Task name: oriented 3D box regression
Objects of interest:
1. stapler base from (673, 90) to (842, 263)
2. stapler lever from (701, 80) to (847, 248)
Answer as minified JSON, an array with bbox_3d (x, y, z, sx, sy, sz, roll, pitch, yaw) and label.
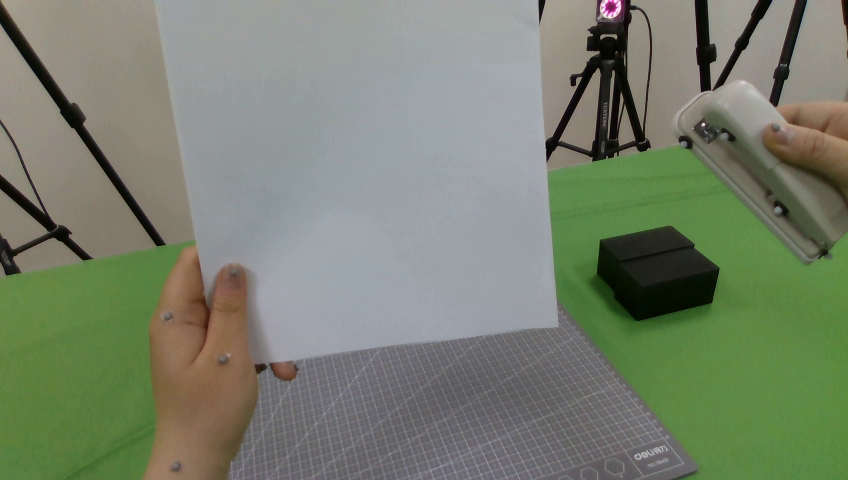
[{"bbox_3d":[0.220,-0.046,0.390,0.041,0.024,0.130,-42,81,4],"label":"stapler base"},{"bbox_3d":[0.217,-0.048,0.366,0.027,0.040,0.117,-42,80,4],"label":"stapler lever"}]
